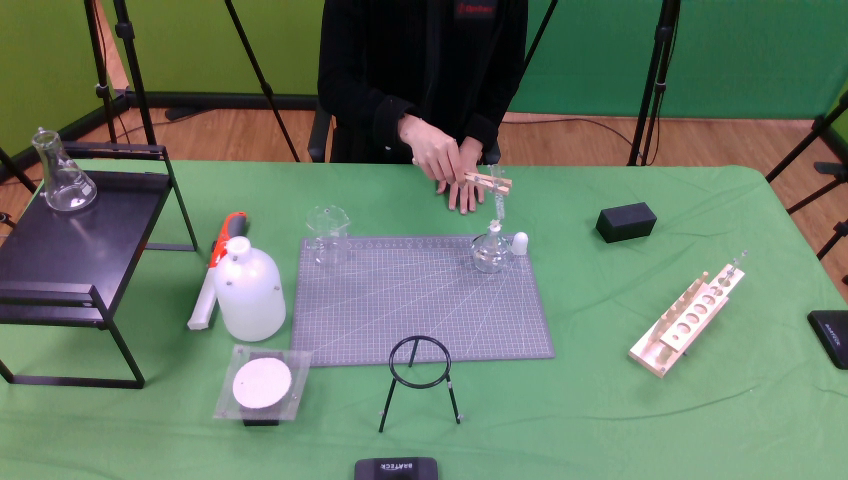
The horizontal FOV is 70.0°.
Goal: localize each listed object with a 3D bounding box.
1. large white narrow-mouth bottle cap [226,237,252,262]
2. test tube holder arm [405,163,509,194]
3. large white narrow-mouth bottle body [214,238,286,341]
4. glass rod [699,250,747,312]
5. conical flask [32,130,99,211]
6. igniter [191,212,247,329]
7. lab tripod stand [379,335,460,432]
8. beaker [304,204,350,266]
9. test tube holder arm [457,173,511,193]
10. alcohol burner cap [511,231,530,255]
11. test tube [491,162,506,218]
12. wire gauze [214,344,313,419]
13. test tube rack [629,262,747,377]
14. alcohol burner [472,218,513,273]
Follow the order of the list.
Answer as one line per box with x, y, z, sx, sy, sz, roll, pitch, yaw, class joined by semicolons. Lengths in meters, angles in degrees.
-0.282;0.014;0.923;0.038;0.024;0.037;2;46;-2;large white narrow-mouth bottle cap
0.054;-0.099;0.974;0.179;0.013;0.015;12;46;-19;test tube holder arm
-0.285;0.073;0.986;0.102;0.195;0.101;2;46;-2;large white narrow-mouth bottle body
0.500;0.075;1.021;0.008;0.201;0.008;0;55;1;glass rod
-0.565;-0.111;0.944;0.075;0.122;0.075;2;46;-2;conical flask
-0.376;0.047;1.121;0.057;0.025;0.275;-4;46;6;igniter
-0.010;0.214;0.912;0.148;0.132;0.147;1;45;0;lab tripod stand
-0.178;-0.006;1.132;0.084;0.101;0.073;4;46;-1;beaker
0.097;-0.092;0.986;0.088;0.010;0.015;-12;46;6;test tube holder arm
0.191;0.003;1.187;0.034;0.048;0.033;3;44;-3;alcohol burner cap
0.126;-0.079;1.013;0.017;0.151;0.017;-5;59;9;test tube
-0.241;0.213;0.915;0.121;0.011;0.124;5;46;1;wire gauze
0.464;0.126;1.061;0.242;0.085;0.066;-34;56;-31;test tube rack
0.128;0.005;1.132;0.078;0.120;0.077;0;47;0;alcohol burner
